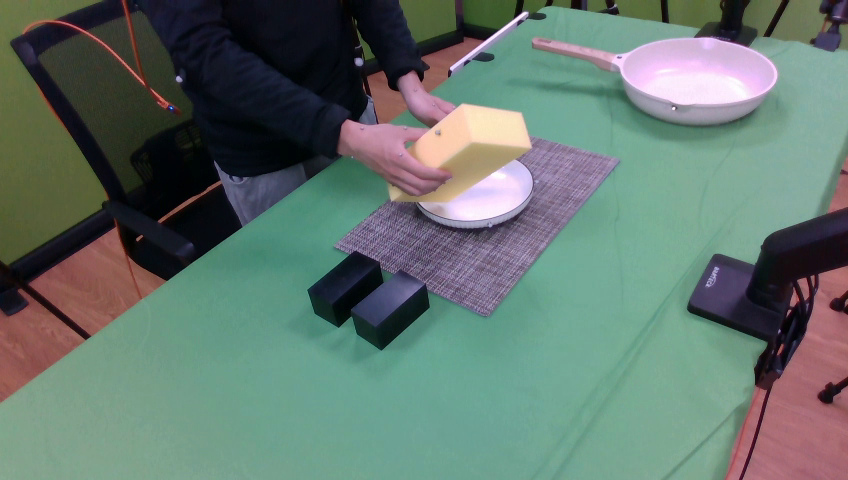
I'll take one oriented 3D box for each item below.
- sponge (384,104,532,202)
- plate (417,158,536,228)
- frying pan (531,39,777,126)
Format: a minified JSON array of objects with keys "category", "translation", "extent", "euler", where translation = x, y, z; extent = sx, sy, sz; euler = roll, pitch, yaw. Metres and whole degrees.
[{"category":"sponge","translation":[0.046,-0.124,0.918],"extent":[0.119,0.206,0.060],"euler":[-2,71,-39]},{"category":"plate","translation":[0.086,-0.085,1.038],"extent":[0.207,0.039,0.206],"euler":[-4,40,4]},{"category":"frying pan","translation":[0.452,-0.354,1.254],"extent":[0.485,0.103,0.307],"euler":[22,47,19]}]
